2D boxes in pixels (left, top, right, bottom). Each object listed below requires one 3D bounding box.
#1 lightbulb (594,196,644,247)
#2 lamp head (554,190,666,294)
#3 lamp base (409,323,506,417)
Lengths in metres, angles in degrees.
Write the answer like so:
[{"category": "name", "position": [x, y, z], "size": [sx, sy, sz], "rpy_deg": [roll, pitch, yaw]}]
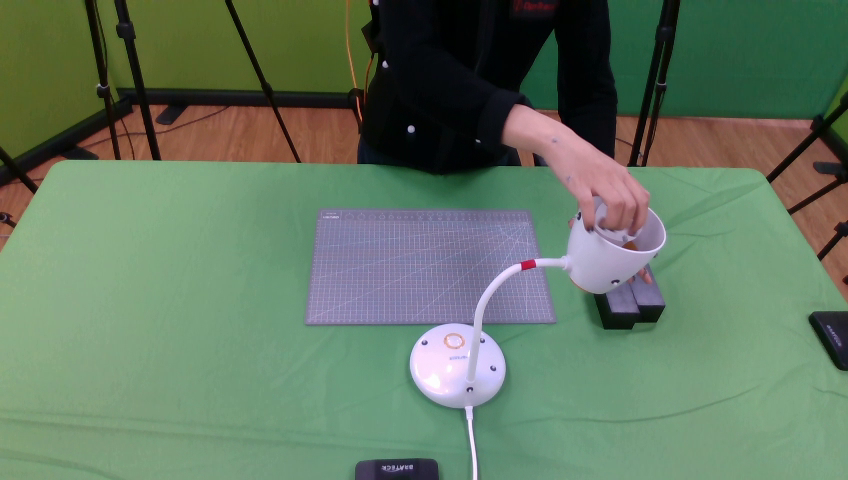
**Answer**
[{"category": "lightbulb", "position": [0.243, -0.008, 0.782], "size": [0.059, 0.108, 0.059], "rpy_deg": [7, 41, -6]}, {"category": "lamp head", "position": [0.234, 0.013, 0.794], "size": [0.113, 0.123, 0.111], "rpy_deg": [13, 43, -12]}, {"category": "lamp base", "position": [0.063, 0.160, 0.940], "size": [0.161, 0.181, 0.178], "rpy_deg": [-10, 50, -13]}]
